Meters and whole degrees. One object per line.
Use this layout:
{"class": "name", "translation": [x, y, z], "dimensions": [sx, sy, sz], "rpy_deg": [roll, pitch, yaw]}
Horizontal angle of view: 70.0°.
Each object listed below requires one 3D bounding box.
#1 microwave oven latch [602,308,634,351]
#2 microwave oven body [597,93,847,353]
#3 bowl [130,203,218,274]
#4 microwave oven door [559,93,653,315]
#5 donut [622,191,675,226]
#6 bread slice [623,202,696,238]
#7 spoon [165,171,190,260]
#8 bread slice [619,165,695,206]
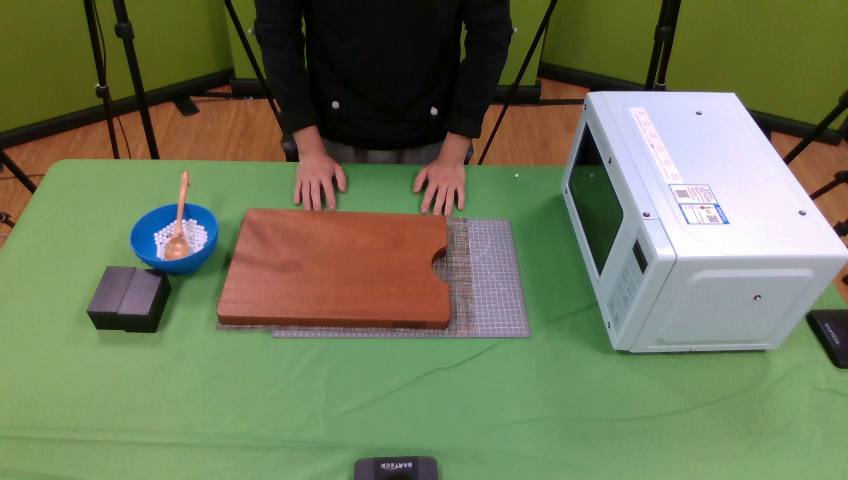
{"class": "microwave oven latch", "translation": [0.332, 0.153, 1.044], "dimensions": [0.030, 0.029, 0.078], "rpy_deg": [-1, 45, -4]}
{"class": "microwave oven body", "translation": [0.475, -0.041, 1.110], "dimensions": [0.326, 0.261, 0.438], "rpy_deg": [-1, 45, -4]}
{"class": "bowl", "translation": [-0.450, 0.010, 1.117], "dimensions": [0.151, 0.077, 0.150], "rpy_deg": [3, 45, -3]}
{"class": "microwave oven door", "translation": [0.327, -0.074, 1.123], "dimensions": [0.039, 0.245, 0.353], "rpy_deg": [-1, 46, -5]}
{"class": "donut", "translation": [0.435, -0.061, 1.174], "dimensions": [0.099, 0.048, 0.098], "rpy_deg": [-7, 27, 4]}
{"class": "bread slice", "translation": [0.467, -0.041, 1.200], "dimensions": [0.131, 0.019, 0.104], "rpy_deg": [0, 38, 9]}
{"class": "spoon", "translation": [-0.452, -0.046, 1.129], "dimensions": [0.041, 0.022, 0.193], "rpy_deg": [-2, 69, -1]}
{"class": "bread slice", "translation": [0.445, -0.103, 1.149], "dimensions": [0.135, 0.018, 0.106], "rpy_deg": [1, 41, -23]}
